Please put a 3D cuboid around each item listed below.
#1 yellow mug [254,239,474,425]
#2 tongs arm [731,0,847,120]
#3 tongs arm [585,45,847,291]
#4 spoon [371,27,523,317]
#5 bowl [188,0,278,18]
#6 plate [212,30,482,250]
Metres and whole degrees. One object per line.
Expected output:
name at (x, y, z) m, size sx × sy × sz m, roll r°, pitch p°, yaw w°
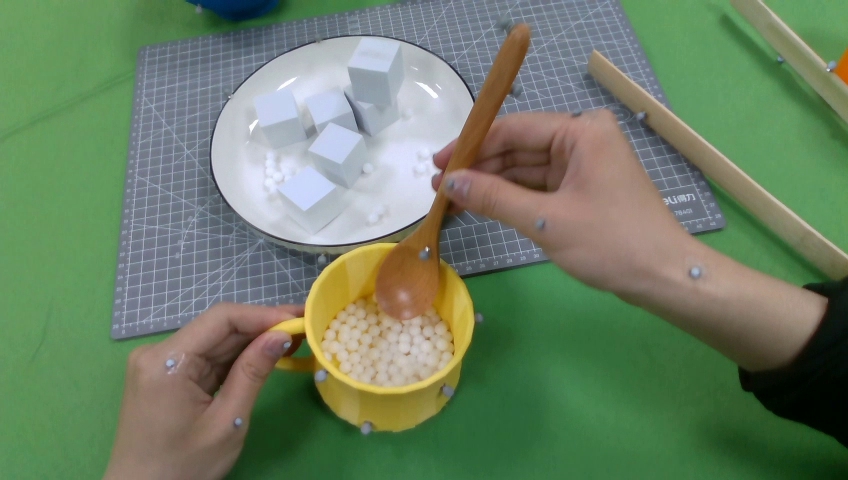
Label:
yellow mug at (-0.038, 0.059, 0.375) m, size 0.131 × 0.064 × 0.099 m, roll -7°, pitch 56°, yaw -9°
tongs arm at (0.326, -0.062, 0.442) m, size 0.051 × 0.027 × 0.381 m, roll -23°, pitch 63°, yaw -8°
tongs arm at (0.255, -0.025, 0.430) m, size 0.028 × 0.028 × 0.384 m, roll -34°, pitch 65°, yaw -17°
spoon at (0.010, -0.025, 0.331) m, size 0.041 × 0.195 × 0.021 m, roll 35°, pitch 43°, yaw 11°
bowl at (-0.181, -0.266, 0.572) m, size 0.151 × 0.077 × 0.150 m, roll -2°, pitch 61°, yaw 4°
plate at (-0.058, -0.079, 0.478) m, size 0.207 × 0.039 × 0.206 m, roll -2°, pitch 61°, yaw 4°
